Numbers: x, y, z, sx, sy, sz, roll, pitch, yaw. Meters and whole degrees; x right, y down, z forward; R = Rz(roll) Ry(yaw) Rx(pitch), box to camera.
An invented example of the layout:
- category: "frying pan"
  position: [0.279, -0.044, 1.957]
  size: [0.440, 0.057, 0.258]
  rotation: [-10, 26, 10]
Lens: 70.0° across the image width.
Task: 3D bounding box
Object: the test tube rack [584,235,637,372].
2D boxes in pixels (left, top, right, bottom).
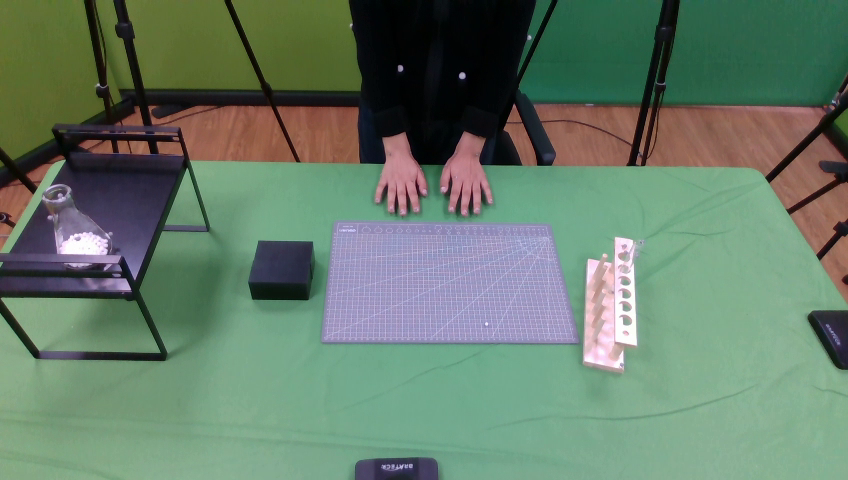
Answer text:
- category: "test tube rack"
  position: [0.329, 0.103, 1.073]
  size: [0.067, 0.085, 0.241]
  rotation: [11, 47, 7]

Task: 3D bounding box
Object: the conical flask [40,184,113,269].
- category: "conical flask"
  position: [-0.501, -0.022, 0.861]
  size: [0.075, 0.122, 0.075]
  rotation: [1, 46, -1]

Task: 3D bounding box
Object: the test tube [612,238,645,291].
- category: "test tube"
  position: [0.355, 0.046, 1.061]
  size: [0.017, 0.151, 0.017]
  rotation: [1, 54, -1]
